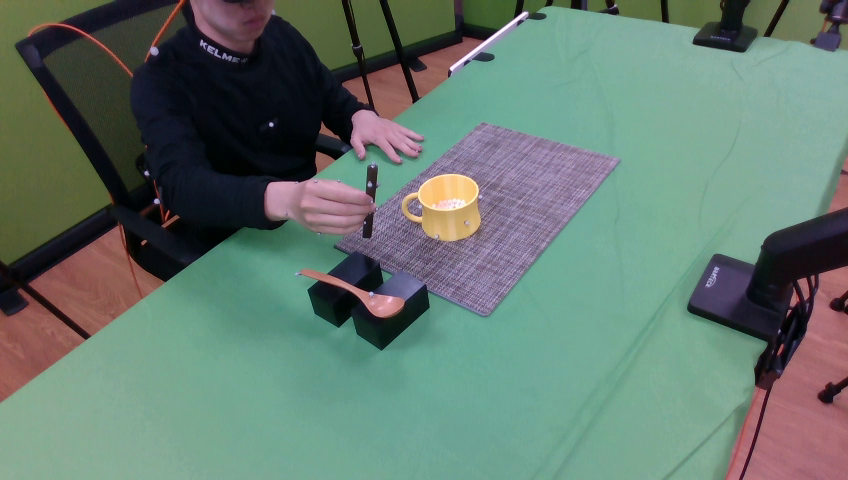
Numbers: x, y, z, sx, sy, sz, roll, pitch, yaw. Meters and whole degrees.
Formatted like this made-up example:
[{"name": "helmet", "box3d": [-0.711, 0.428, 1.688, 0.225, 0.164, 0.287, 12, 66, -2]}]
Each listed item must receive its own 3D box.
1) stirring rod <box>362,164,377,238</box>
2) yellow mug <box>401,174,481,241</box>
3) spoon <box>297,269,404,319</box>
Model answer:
[{"name": "stirring rod", "box3d": [-0.075, -0.049, 0.827, 0.014, 0.176, 0.006, -5, 60, -11]}, {"name": "yellow mug", "box3d": [0.026, -0.054, 0.989, 0.130, 0.064, 0.099, -1, 41, 8]}, {"name": "spoon", "box3d": [-0.106, 0.068, 0.831, 0.192, 0.022, 0.042, 21, 49, 31]}]
